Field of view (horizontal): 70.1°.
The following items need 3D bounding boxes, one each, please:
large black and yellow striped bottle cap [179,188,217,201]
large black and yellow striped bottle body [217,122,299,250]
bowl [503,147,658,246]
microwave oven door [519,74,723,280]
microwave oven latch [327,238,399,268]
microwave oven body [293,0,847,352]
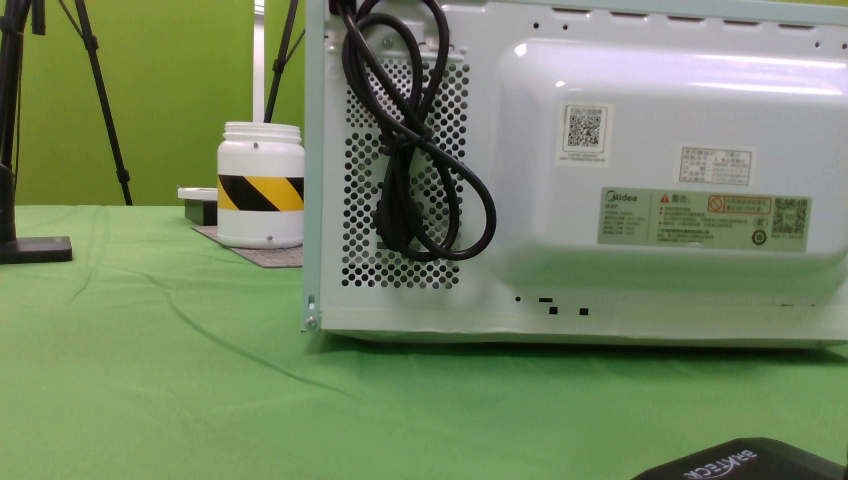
[{"bbox_3d":[-0.434,-0.093,1.226,0.115,0.019,0.115,3,9,0],"label":"large black and yellow striped bottle cap"},{"bbox_3d":[-0.250,-0.084,0.931,0.131,0.184,0.130,2,7,0],"label":"large black and yellow striped bottle body"},{"bbox_3d":[0.154,-0.036,0.606,0.151,0.076,0.151,3,-6,1],"label":"bowl"},{"bbox_3d":[0.255,-0.094,0.863,0.039,0.243,0.354,-1,8,-25],"label":"microwave oven door"},{"bbox_3d":[-0.069,0.015,0.694,0.079,0.029,0.030,3,7,-3],"label":"microwave oven latch"},{"bbox_3d":[0.122,-0.055,0.550,0.442,0.260,0.325,3,7,-5],"label":"microwave oven body"}]
